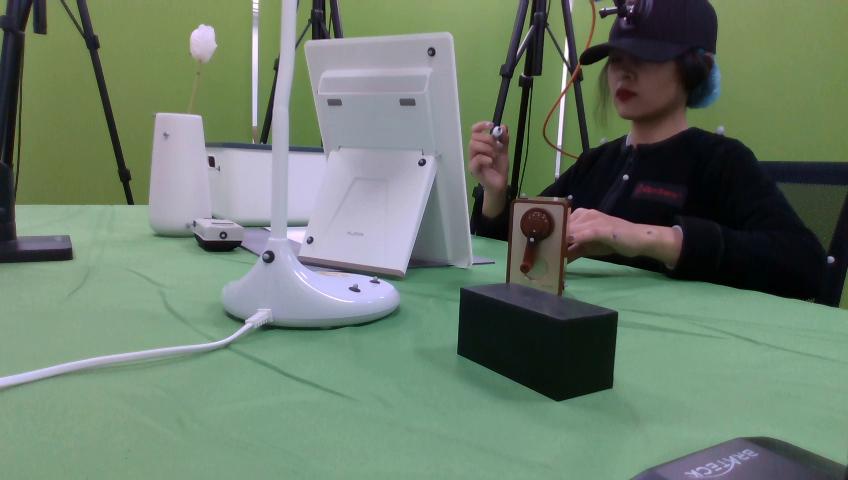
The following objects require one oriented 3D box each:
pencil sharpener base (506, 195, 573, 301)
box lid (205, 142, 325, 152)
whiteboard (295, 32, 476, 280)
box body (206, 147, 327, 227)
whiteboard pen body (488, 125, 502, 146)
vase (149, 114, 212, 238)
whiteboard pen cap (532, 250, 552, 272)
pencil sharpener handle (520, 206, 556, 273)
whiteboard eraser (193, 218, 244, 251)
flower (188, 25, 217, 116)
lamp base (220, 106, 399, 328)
[{"bbox_3d":[0.127,0.007,0.663,0.061,0.107,0.077,5,8,15],"label":"pencil sharpener base"},{"bbox_3d":[-0.270,-0.196,1.311,0.373,0.015,0.262,-2,9,-30],"label":"box lid"},{"bbox_3d":[-0.076,-0.084,0.747,0.216,0.305,0.144,7,28,29],"label":"whiteboard"},{"bbox_3d":[-0.276,-0.122,1.320,0.366,0.160,0.253,-2,9,-30],"label":"box body"},{"bbox_3d":[0.127,-0.187,1.074,0.017,0.017,0.141,3,-2,2],"label":"whiteboard pen body"},{"bbox_3d":[-0.405,-0.106,1.005,0.098,0.200,0.098,2,6,0],"label":"vase"},{"bbox_3d":[0.161,0.028,0.827,0.018,0.018,0.033,0,30,-18],"label":"whiteboard pen cap"},{"bbox_3d":[0.111,0.000,0.613,0.036,0.067,0.031,13,10,14],"label":"pencil sharpener handle"},{"bbox_3d":[-0.307,-0.010,0.900,0.056,0.042,0.112,-4,10,-28],"label":"whiteboard eraser"},{"bbox_3d":[-0.394,-0.189,1.011,0.044,0.361,0.038,-1,-13,28],"label":"flower"},{"bbox_3d":[-0.102,-0.023,0.531,0.160,0.180,0.179,4,10,10],"label":"lamp base"}]
